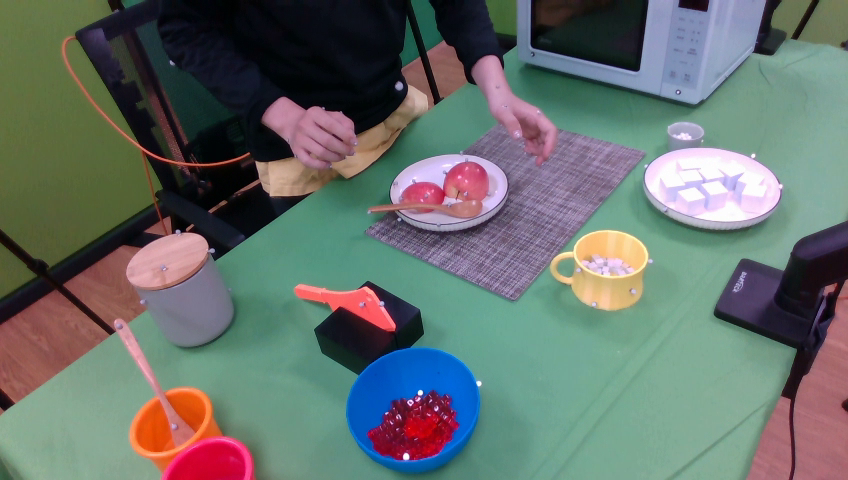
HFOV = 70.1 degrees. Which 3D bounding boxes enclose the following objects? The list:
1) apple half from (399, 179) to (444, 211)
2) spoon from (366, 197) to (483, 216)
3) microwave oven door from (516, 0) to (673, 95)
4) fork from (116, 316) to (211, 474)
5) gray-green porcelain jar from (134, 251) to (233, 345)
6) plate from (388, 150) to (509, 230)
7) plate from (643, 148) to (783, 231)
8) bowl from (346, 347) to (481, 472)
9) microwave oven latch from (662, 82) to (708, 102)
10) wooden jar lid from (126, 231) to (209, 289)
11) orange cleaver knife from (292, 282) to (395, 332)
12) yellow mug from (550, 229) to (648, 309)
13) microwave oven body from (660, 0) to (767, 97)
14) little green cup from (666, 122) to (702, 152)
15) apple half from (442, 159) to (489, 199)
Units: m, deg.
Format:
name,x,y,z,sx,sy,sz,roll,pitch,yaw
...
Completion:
name,x,y,z,sx,sy,sz,roll,pitch,yaw
apple half,-0.003,-0.088,1.045,0.081,0.033,0.081,-2,42,2
spoon,0.001,-0.057,0.998,0.194,0.022,0.041,1,51,-9
microwave oven door,0.344,-0.458,1.257,0.353,0.245,0.039,26,52,33
fork,-0.308,0.179,0.708,0.028,0.018,0.207,-30,89,-14
gray-green porcelain jar,-0.334,0.076,0.849,0.106,0.127,0.105,-4,41,4
plate,0.043,-0.083,1.043,0.209,0.038,0.208,-4,41,4
plate,0.464,-0.080,0.986,0.207,0.039,0.206,-4,41,4
bowl,-0.008,0.205,0.691,0.151,0.077,0.150,-4,40,4
microwave oven latch,0.518,-0.298,1.203,0.078,0.029,0.030,28,53,35
wooden jar lid,-0.340,0.030,0.809,0.108,0.021,0.108,-5,39,5
orange cleaver knife,-0.116,0.091,0.835,0.209,0.077,0.012,2,32,48
yellow mug,0.245,0.040,0.856,0.130,0.064,0.099,1,42,11
microwave oven body,0.473,-0.517,1.313,0.438,0.261,0.327,26,51,34
little green cup,0.471,-0.184,1.102,0.061,0.039,0.061,-5,41,5
apple half,0.074,-0.110,1.047,0.080,0.053,0.075,22,46,29
